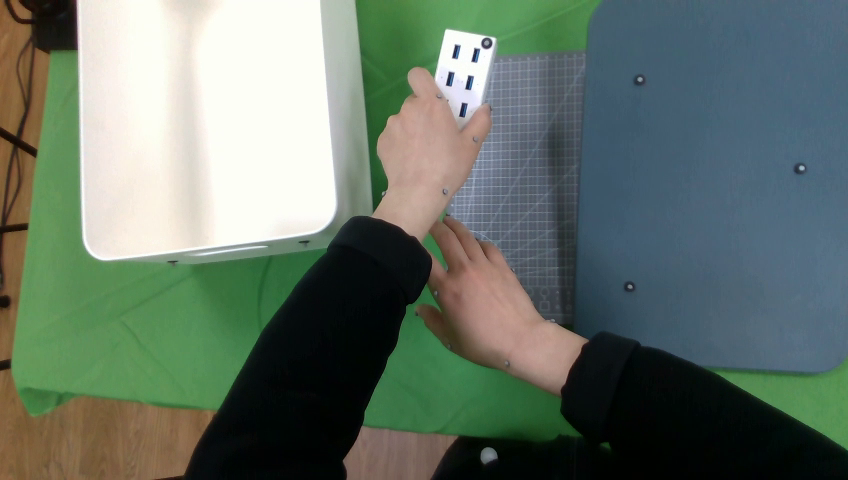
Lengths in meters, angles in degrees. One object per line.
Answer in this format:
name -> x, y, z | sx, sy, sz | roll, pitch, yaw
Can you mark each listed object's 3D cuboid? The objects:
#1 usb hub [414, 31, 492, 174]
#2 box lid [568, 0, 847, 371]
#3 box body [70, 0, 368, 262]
usb hub -> 0.027, -0.127, 0.563 | 0.049, 0.025, 0.125 | 12, 91, 8
box lid -> 0.280, -0.055, 0.593 | 0.263, 0.015, 0.372 | 2, 97, 11
box body -> -0.207, -0.163, 0.648 | 0.254, 0.161, 0.363 | -7, 83, 9
